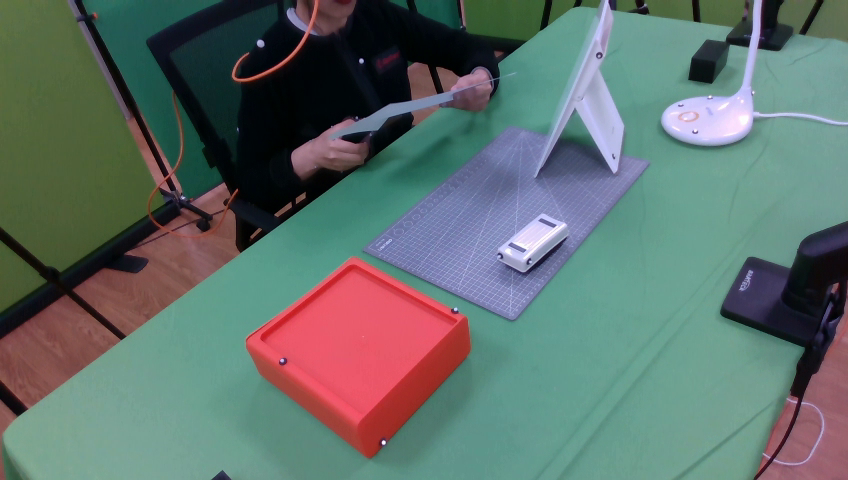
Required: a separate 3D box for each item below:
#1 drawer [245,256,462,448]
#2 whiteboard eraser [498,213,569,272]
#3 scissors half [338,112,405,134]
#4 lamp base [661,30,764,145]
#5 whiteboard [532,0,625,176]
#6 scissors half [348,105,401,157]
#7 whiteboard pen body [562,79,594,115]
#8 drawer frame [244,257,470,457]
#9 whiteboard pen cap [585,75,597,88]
[{"bbox_3d":[-0.089,0.136,0.792,0.210,0.073,0.195,26,51,34],"label":"drawer"},{"bbox_3d":[0.168,0.006,0.924,0.113,0.042,0.055,-36,48,-28],"label":"whiteboard eraser"},{"bbox_3d":[-0.101,-0.225,1.137,0.174,0.040,0.013,2,25,38],"label":"scissors half"},{"bbox_3d":[0.535,-0.287,1.096,0.179,0.181,0.159,-10,40,-4],"label":"lamp base"},{"bbox_3d":[0.320,-0.259,1.050,0.144,0.306,0.217,21,45,5],"label":"whiteboard"},{"bbox_3d":[-0.091,-0.205,1.142,0.040,0.174,0.013,51,46,-3],"label":"scissors half"},{"bbox_3d":[0.328,-0.306,1.277,0.017,0.017,0.141,20,52,30],"label":"whiteboard pen body"},{"bbox_3d":[-0.084,0.138,0.788,0.212,0.083,0.202,25,50,33],"label":"drawer frame"},{"bbox_3d":[0.362,-0.343,1.310,0.018,0.018,0.033,20,54,30],"label":"whiteboard pen cap"}]
